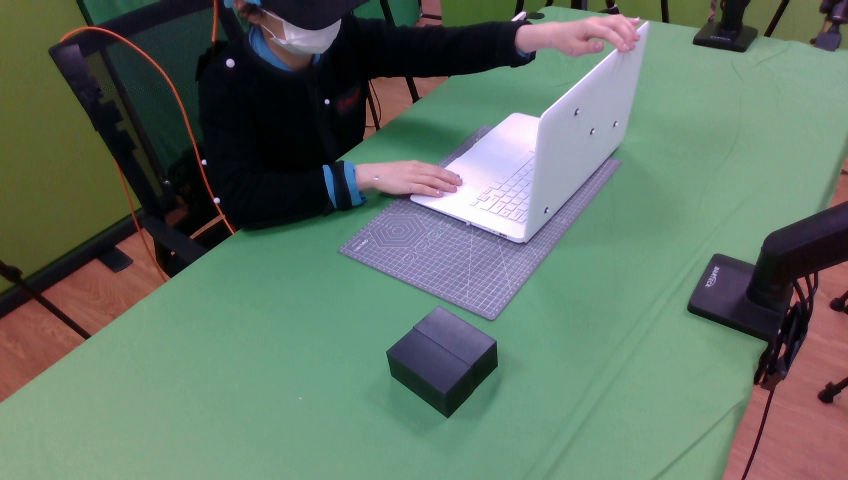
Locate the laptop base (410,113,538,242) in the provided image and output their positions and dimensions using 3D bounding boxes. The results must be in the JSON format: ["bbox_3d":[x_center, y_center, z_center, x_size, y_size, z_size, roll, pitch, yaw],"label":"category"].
[{"bbox_3d":[0.171,-0.127,1.096,0.233,0.023,0.355,21,47,34],"label":"laptop base"}]

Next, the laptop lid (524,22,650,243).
[{"bbox_3d":[0.260,-0.173,0.952,0.013,0.242,0.358,27,49,28],"label":"laptop lid"}]
